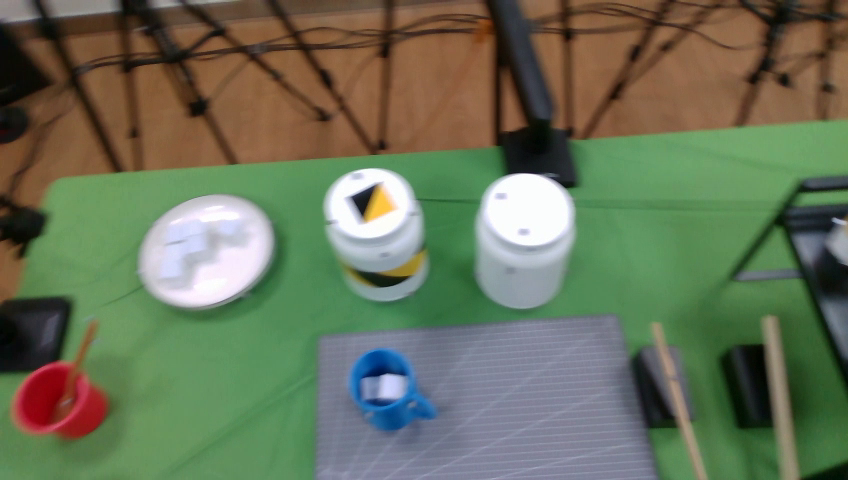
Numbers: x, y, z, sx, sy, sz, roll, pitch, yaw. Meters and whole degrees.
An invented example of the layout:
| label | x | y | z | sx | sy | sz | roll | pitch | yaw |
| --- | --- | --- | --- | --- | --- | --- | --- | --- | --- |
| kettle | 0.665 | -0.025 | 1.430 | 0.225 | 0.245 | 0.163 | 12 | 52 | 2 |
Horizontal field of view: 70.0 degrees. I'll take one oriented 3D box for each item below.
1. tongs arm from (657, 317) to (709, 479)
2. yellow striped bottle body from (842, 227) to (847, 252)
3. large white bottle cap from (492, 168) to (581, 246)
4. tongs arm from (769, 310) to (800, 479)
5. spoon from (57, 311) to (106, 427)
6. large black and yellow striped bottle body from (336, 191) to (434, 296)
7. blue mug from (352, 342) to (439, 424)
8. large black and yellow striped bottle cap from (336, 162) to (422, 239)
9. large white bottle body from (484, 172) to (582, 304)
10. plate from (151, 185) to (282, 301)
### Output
| label | x | y | z | sx | sy | sz | roll | pitch | yaw |
| --- | --- | --- | --- | --- | --- | --- | --- | --- | --- |
| tongs arm | 0.356 | 0.280 | 0.738 | 0.051 | 0.026 | 0.382 | -7 | 72 | -3 |
| yellow striped bottle body | 0.535 | -0.023 | 0.681 | 0.063 | 0.121 | 0.062 | -2 | 60 | 3 |
| large white bottle cap | 0.147 | -0.045 | 0.791 | 0.115 | 0.018 | 0.114 | -1 | 60 | 2 |
| tongs arm | 0.438 | 0.275 | 0.738 | 0.028 | 0.028 | 0.385 | 7 | 73 | -2 |
| spoon | -0.467 | 0.177 | 0.827 | 0.041 | 0.022 | 0.194 | 38 | 113 | 25 |
| large black and yellow striped bottle body | -0.055 | -0.012 | 0.884 | 0.131 | 0.185 | 0.129 | -2 | 60 | 3 |
| blue mug | -0.032 | 0.199 | 0.806 | 0.116 | 0.107 | 0.082 | 23 | 64 | 16 |
| large black and yellow striped bottle cap | -0.060 | -0.055 | 0.812 | 0.115 | 0.019 | 0.114 | -1 | 61 | 2 |
| large white bottle body | 0.152 | -0.002 | 0.864 | 0.130 | 0.186 | 0.129 | -1 | 60 | 3 |
| plate | -0.329 | 0.007 | 0.976 | 0.207 | 0.039 | 0.206 | -1 | 61 | 3 |
